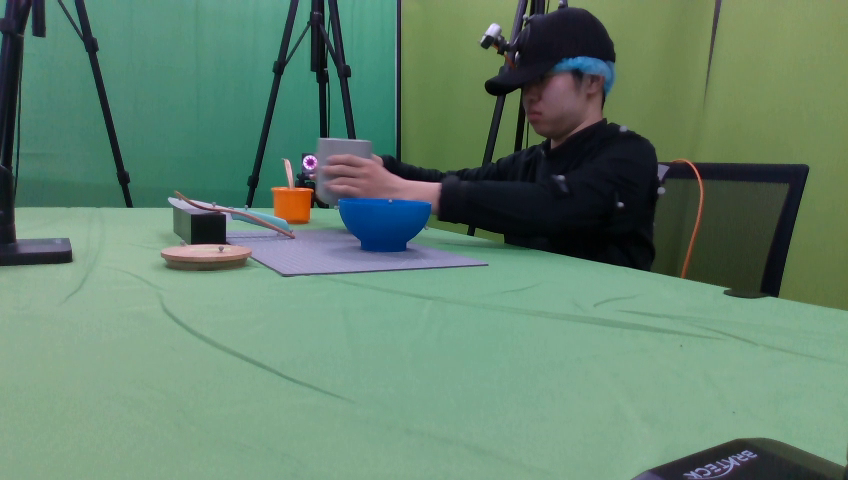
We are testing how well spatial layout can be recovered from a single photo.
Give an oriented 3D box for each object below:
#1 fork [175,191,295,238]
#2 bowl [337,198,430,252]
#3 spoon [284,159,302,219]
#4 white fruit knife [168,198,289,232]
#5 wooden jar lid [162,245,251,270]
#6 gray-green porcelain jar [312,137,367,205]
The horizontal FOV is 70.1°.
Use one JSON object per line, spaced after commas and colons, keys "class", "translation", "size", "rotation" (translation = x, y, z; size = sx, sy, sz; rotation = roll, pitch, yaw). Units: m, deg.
{"class": "fork", "translation": [-0.306, -0.039, 0.993], "size": [0.208, 0.018, 0.028], "rotation": [19, -8, -34]}
{"class": "bowl", "translation": [-0.066, -0.024, 0.966], "size": [0.151, 0.077, 0.151], "rotation": [2, 7, 0]}
{"class": "spoon", "translation": [-0.302, -0.118, 1.370], "size": [0.042, 0.193, 0.021], "rotation": [4, -39, -24]}
{"class": "white fruit knife", "translation": [-0.329, -0.044, 1.036], "size": [0.208, 0.027, 0.016], "rotation": [14, -1, -32]}
{"class": "wooden jar lid", "translation": [-0.278, 0.022, 0.777], "size": [0.108, 0.020, 0.108], "rotation": [2, 6, 0]}
{"class": "gray-green porcelain jar", "translation": [-0.166, -0.136, 1.185], "size": [0.106, 0.126, 0.106], "rotation": [2, 11, 0]}
